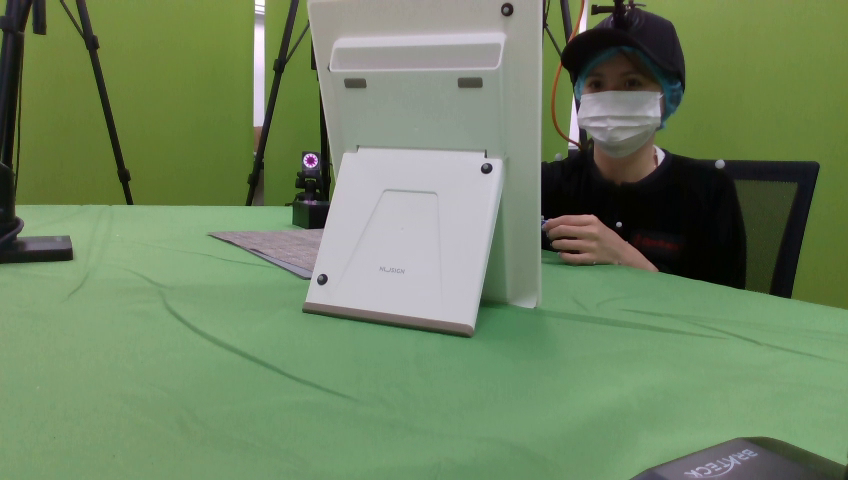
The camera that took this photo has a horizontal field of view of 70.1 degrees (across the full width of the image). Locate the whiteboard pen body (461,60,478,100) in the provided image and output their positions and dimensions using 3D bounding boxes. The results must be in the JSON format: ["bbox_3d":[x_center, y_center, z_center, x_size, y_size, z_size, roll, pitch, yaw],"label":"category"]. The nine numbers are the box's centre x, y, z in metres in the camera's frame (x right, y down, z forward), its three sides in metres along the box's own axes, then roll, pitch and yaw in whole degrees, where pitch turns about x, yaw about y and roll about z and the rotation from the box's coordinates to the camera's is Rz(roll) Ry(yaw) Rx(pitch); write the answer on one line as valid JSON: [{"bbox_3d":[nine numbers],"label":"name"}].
[{"bbox_3d":[0.045,-0.158,0.600,0.017,0.017,0.140,3,27,2],"label":"whiteboard pen body"}]

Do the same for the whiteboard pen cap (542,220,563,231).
[{"bbox_3d":[0.194,-0.023,0.927,0.033,0.018,0.018,4,7,38],"label":"whiteboard pen cap"}]

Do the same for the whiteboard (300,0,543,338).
[{"bbox_3d":[-0.020,-0.050,0.523,0.216,0.305,0.144,6,27,22],"label":"whiteboard"}]
